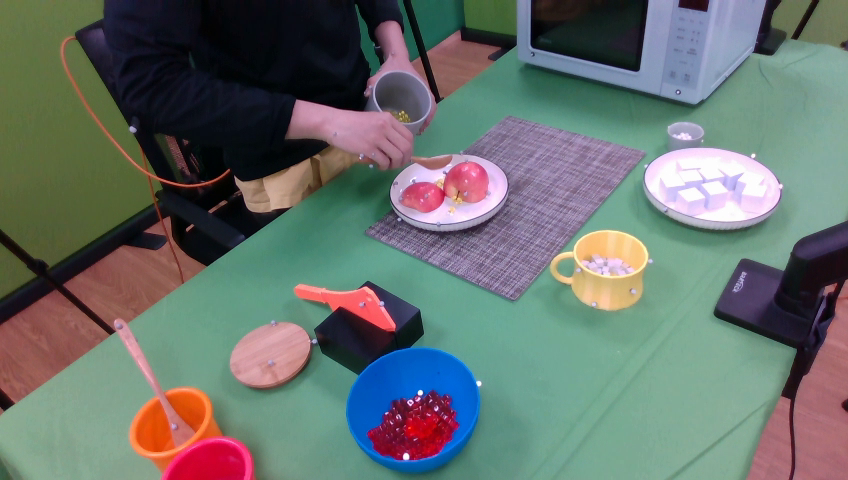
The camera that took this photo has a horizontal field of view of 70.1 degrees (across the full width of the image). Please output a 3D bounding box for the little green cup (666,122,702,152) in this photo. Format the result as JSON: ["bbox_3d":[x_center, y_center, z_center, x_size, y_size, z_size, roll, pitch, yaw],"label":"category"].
[{"bbox_3d":[0.471,-0.184,1.102,0.061,0.039,0.061,-5,41,5],"label":"little green cup"}]

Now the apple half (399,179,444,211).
[{"bbox_3d":[-0.004,-0.088,1.045,0.081,0.033,0.081,-2,43,2],"label":"apple half"}]

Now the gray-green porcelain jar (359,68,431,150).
[{"bbox_3d":[-0.057,-0.228,1.082,0.106,0.126,0.105,6,71,-18],"label":"gray-green porcelain jar"}]

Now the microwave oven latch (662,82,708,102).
[{"bbox_3d":[0.518,-0.299,1.203,0.078,0.029,0.030,29,53,36],"label":"microwave oven latch"}]

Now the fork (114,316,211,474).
[{"bbox_3d":[-0.308,0.179,0.708,0.028,0.018,0.207,-30,89,-23],"label":"fork"}]

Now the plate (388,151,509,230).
[{"bbox_3d":[0.043,-0.082,1.043,0.209,0.038,0.208,-4,40,4],"label":"plate"}]

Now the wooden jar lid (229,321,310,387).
[{"bbox_3d":[-0.207,0.156,0.820,0.108,0.021,0.108,-3,39,3],"label":"wooden jar lid"}]

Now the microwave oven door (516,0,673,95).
[{"bbox_3d":[0.344,-0.458,1.256,0.353,0.245,0.039,26,51,33],"label":"microwave oven door"}]

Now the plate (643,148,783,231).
[{"bbox_3d":[0.464,-0.080,0.986,0.207,0.039,0.206,-4,41,4],"label":"plate"}]

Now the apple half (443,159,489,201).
[{"bbox_3d":[0.074,-0.111,1.047,0.080,0.053,0.075,21,46,30],"label":"apple half"}]

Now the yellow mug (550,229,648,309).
[{"bbox_3d":[0.245,0.040,0.857,0.130,0.064,0.099,1,42,11],"label":"yellow mug"}]

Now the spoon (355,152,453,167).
[{"bbox_3d":[-0.028,-0.128,0.938,0.195,0.041,0.021,-3,73,-41],"label":"spoon"}]

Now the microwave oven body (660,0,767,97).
[{"bbox_3d":[0.473,-0.516,1.313,0.438,0.261,0.327,26,51,34],"label":"microwave oven body"}]

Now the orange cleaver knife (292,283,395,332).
[{"bbox_3d":[-0.115,0.092,0.835,0.209,0.077,0.012,1,32,48],"label":"orange cleaver knife"}]

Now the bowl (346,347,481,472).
[{"bbox_3d":[-0.008,0.205,0.691,0.151,0.077,0.150,-4,40,4],"label":"bowl"}]
